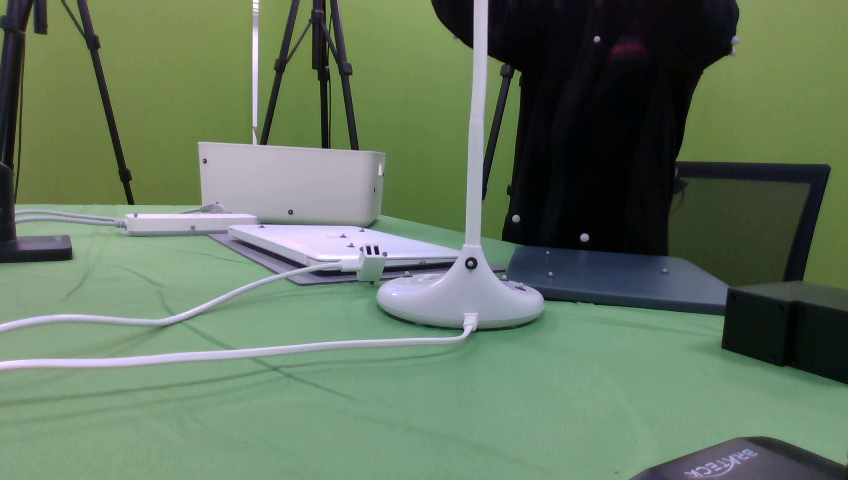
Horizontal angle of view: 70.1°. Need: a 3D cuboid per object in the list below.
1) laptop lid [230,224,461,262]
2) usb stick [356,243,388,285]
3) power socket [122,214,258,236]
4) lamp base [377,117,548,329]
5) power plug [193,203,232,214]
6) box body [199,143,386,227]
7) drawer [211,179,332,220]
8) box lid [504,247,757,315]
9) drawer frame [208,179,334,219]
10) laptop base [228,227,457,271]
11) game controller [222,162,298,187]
[{"bbox_3d":[-0.120,0.000,0.889,0.243,0.013,0.355,1,7,-33],"label":"laptop lid"},{"bbox_3d":[-0.058,0.029,0.658,0.027,0.059,0.021,-5,52,-18],"label":"usb stick"},{"bbox_3d":[-0.398,-0.028,1.049,0.228,0.032,0.072,-3,8,-34],"label":"power socket"},{"bbox_3d":[0.041,-0.019,0.551,0.161,0.180,0.179,1,10,-10],"label":"lamp base"},{"bbox_3d":[-0.393,-0.042,1.139,0.072,0.052,0.035,-14,1,31],"label":"power plug"},{"bbox_3d":[-0.276,-0.124,1.334,0.364,0.160,0.254,3,7,1],"label":"box body"},{"bbox_3d":[-0.328,-0.095,1.332,0.212,0.073,0.194,5,8,6],"label":"drawer"},{"bbox_3d":[0.244,0.044,0.793,0.263,0.015,0.372,4,7,11],"label":"box lid"},{"bbox_3d":[-0.326,-0.093,1.328,0.213,0.082,0.202,-1,5,6],"label":"drawer frame"},{"bbox_3d":[-0.122,0.011,0.889,0.237,0.023,0.352,2,6,-35],"label":"laptop base"},{"bbox_3d":[-0.357,-0.143,1.322,0.156,0.051,0.097,1,2,-16],"label":"game controller"}]
